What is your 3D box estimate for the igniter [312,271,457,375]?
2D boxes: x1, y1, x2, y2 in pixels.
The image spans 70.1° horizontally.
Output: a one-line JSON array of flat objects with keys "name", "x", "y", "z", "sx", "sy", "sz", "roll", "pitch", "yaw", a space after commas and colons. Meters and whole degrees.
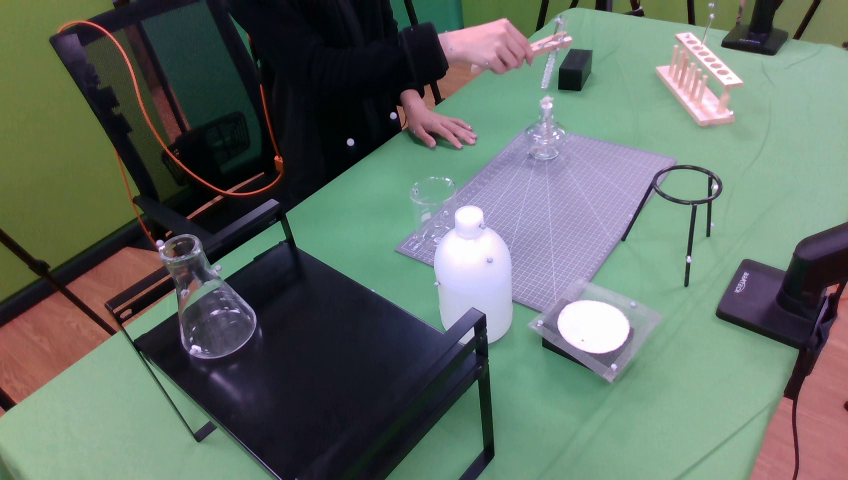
[{"name": "igniter", "x": -0.068, "y": 0.111, "z": 0.859, "sx": 0.274, "sy": 0.025, "sz": 0.057, "roll": 27, "pitch": 61, "yaw": 34}]

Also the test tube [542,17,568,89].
[{"name": "test tube", "x": 0.217, "y": -0.309, "z": 1.013, "sx": 0.017, "sy": 0.150, "sz": 0.017, "roll": 1, "pitch": 60, "yaw": -1}]

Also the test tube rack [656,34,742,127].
[{"name": "test tube rack", "x": 0.553, "y": -0.330, "z": 1.233, "sx": 0.067, "sy": 0.085, "sz": 0.241, "roll": -7, "pitch": 40, "yaw": 2}]

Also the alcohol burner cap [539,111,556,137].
[{"name": "alcohol burner cap", "x": 0.243, "y": -0.232, "z": 1.196, "sx": 0.034, "sy": 0.048, "sz": 0.033, "roll": -5, "pitch": 38, "yaw": 4}]

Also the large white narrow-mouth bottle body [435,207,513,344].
[{"name": "large white narrow-mouth bottle body", "x": 0.065, "y": 0.041, "z": 0.791, "sx": 0.102, "sy": 0.195, "sz": 0.101, "roll": -4, "pitch": 41, "yaw": 4}]

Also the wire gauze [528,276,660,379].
[{"name": "wire gauze", "x": 0.214, "y": 0.103, "z": 0.763, "sx": 0.124, "sy": 0.011, "sz": 0.122, "roll": 30, "pitch": 52, "yaw": 35}]

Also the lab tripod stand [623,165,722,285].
[{"name": "lab tripod stand", "x": 0.365, "y": -0.030, "z": 0.875, "sx": 0.148, "sy": 0.132, "sz": 0.147, "roll": -6, "pitch": 41, "yaw": 6}]

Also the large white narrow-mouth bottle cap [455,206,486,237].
[{"name": "large white narrow-mouth bottle cap", "x": 0.057, "y": -0.023, "z": 0.734, "sx": 0.038, "sy": 0.024, "sz": 0.037, "roll": -4, "pitch": 41, "yaw": 4}]

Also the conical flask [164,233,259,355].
[{"name": "conical flask", "x": -0.216, "y": 0.051, "z": 0.601, "sx": 0.075, "sy": 0.122, "sz": 0.075, "roll": -4, "pitch": 40, "yaw": 4}]

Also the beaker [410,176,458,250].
[{"name": "beaker", "x": 0.022, "y": -0.041, "z": 0.964, "sx": 0.073, "sy": 0.101, "sz": 0.084, "roll": 28, "pitch": 51, "yaw": 35}]

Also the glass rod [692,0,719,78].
[{"name": "glass rod", "x": 0.561, "y": -0.401, "z": 1.214, "sx": 0.008, "sy": 0.200, "sz": 0.008, "roll": -1, "pitch": 48, "yaw": 2}]

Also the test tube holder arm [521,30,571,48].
[{"name": "test tube holder arm", "x": 0.197, "y": -0.322, "z": 0.982, "sx": 0.088, "sy": 0.010, "sz": 0.015, "roll": -21, "pitch": -2, "yaw": -12}]

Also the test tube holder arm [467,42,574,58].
[{"name": "test tube holder arm", "x": 0.156, "y": -0.307, "z": 0.973, "sx": 0.179, "sy": 0.015, "sz": 0.013, "roll": -10, "pitch": 85, "yaw": -12}]

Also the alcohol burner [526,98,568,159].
[{"name": "alcohol burner", "x": 0.228, "y": -0.210, "z": 1.118, "sx": 0.078, "sy": 0.119, "sz": 0.077, "roll": -5, "pitch": 43, "yaw": 5}]
